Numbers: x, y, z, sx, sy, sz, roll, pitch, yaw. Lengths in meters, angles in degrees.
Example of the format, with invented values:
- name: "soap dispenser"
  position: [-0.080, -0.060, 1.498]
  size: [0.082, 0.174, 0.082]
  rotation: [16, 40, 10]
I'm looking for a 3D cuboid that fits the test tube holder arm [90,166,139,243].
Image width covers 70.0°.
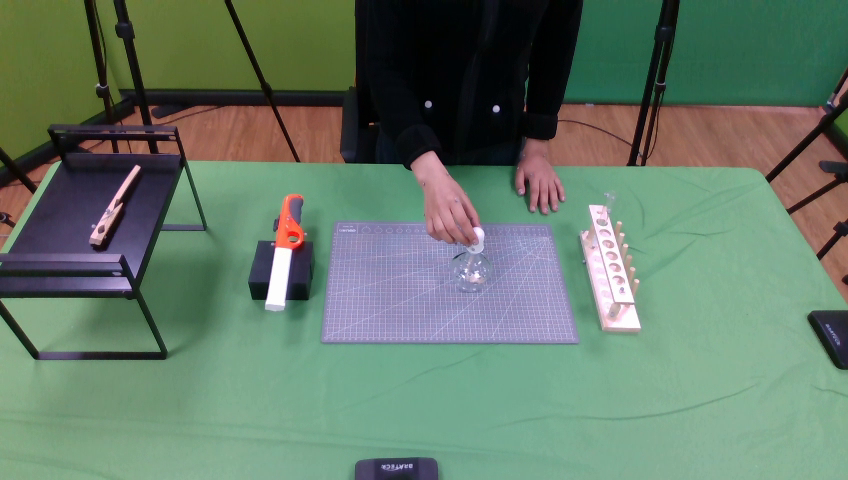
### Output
- name: "test tube holder arm"
  position: [-0.493, -0.061, 0.970]
  size: [0.013, 0.015, 0.177]
  rotation: [28, 38, -25]

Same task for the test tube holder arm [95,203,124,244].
- name: "test tube holder arm"
  position: [-0.489, -0.027, 0.940]
  size: [0.010, 0.015, 0.087]
  rotation: [29, 38, -23]

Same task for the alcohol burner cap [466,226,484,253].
- name: "alcohol burner cap"
  position: [0.090, -0.003, 1.055]
  size: [0.034, 0.048, 0.033]
  rotation: [1, 51, 0]

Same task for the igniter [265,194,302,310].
- name: "igniter"
  position: [-0.253, 0.012, 1.099]
  size: [0.057, 0.025, 0.274]
  rotation: [9, 46, -12]

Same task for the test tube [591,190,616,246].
- name: "test tube"
  position: [0.338, -0.038, 1.149]
  size: [0.017, 0.151, 0.017]
  rotation: [0, 51, 0]

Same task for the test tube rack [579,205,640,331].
- name: "test tube rack"
  position: [0.353, 0.047, 1.137]
  size: [0.067, 0.085, 0.241]
  rotation: [2, 46, -2]

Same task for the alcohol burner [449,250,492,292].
- name: "alcohol burner"
  position: [0.087, 0.038, 1.101]
  size: [0.078, 0.119, 0.077]
  rotation: [3, 44, -2]
